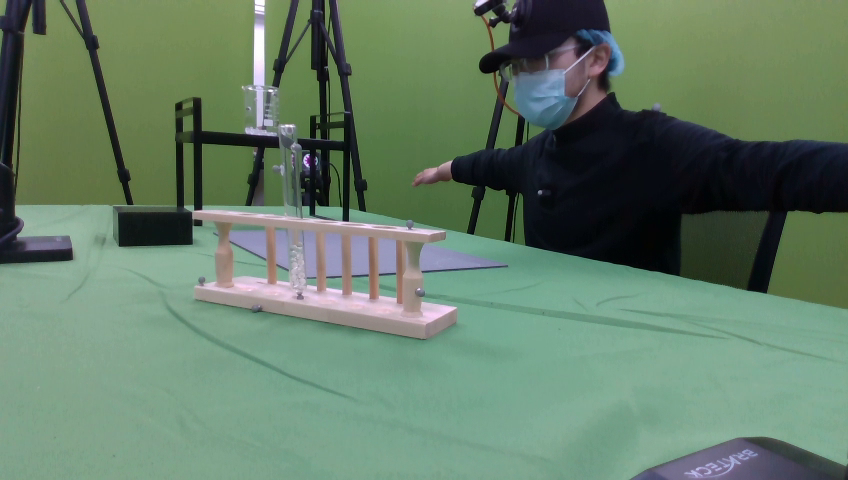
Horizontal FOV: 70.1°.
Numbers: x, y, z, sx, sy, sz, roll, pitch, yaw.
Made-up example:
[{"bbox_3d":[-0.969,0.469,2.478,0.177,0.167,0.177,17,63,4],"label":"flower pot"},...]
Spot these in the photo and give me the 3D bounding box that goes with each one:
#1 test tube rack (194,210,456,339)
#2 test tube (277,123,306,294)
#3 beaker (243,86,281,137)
[{"bbox_3d":[-0.093,0.023,0.546,0.241,0.085,0.067,6,8,25],"label":"test tube rack"},{"bbox_3d":[-0.116,-0.027,0.530,0.017,0.150,0.017,-2,9,1],"label":"test tube"},{"bbox_3d":[-0.338,-0.265,1.253,0.073,0.100,0.084,8,9,38],"label":"beaker"}]
